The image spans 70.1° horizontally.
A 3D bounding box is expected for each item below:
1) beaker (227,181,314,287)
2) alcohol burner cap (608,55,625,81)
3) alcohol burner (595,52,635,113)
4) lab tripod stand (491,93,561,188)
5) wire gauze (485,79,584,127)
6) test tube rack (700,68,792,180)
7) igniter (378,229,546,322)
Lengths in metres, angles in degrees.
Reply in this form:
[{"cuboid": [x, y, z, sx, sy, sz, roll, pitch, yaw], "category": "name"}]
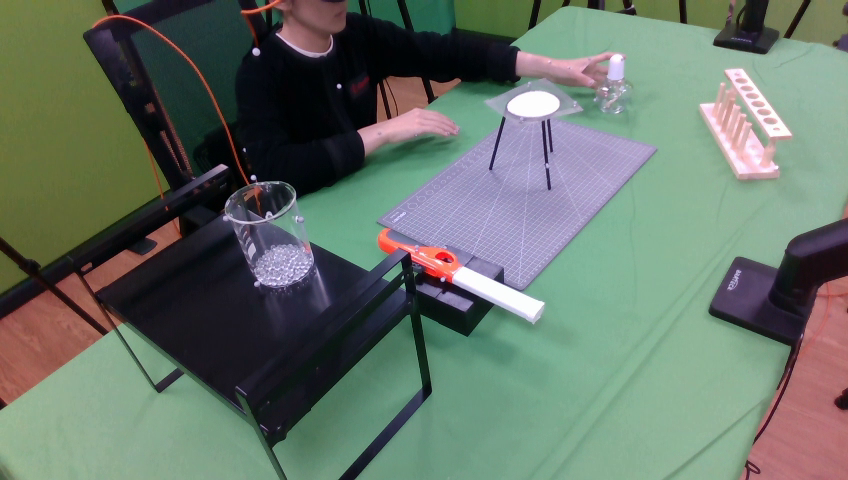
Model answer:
[{"cuboid": [-0.166, -0.006, 0.670, 0.074, 0.101, 0.083, -8, 40, 0], "category": "beaker"}, {"cuboid": [0.383, -0.343, 1.198, 0.034, 0.048, 0.033, -5, 41, 5], "category": "alcohol burner cap"}, {"cuboid": [0.386, -0.319, 1.217, 0.078, 0.119, 0.077, -5, 39, 4], "category": "alcohol burner"}, {"cuboid": [0.189, -0.180, 1.066, 0.148, 0.132, 0.147, -5, 42, 5], "category": "lab tripod stand"}, {"cuboid": [0.185, -0.232, 1.023, 0.125, 0.011, 0.120, -20, 42, -12], "category": "wire gauze"}, {"cuboid": [0.572, -0.215, 1.090, 0.066, 0.085, 0.241, -3, 41, 7], "category": "test tube rack"}, {"cuboid": [0.041, 0.043, 0.844, 0.274, 0.025, 0.057, 24, 47, 29], "category": "igniter"}]
